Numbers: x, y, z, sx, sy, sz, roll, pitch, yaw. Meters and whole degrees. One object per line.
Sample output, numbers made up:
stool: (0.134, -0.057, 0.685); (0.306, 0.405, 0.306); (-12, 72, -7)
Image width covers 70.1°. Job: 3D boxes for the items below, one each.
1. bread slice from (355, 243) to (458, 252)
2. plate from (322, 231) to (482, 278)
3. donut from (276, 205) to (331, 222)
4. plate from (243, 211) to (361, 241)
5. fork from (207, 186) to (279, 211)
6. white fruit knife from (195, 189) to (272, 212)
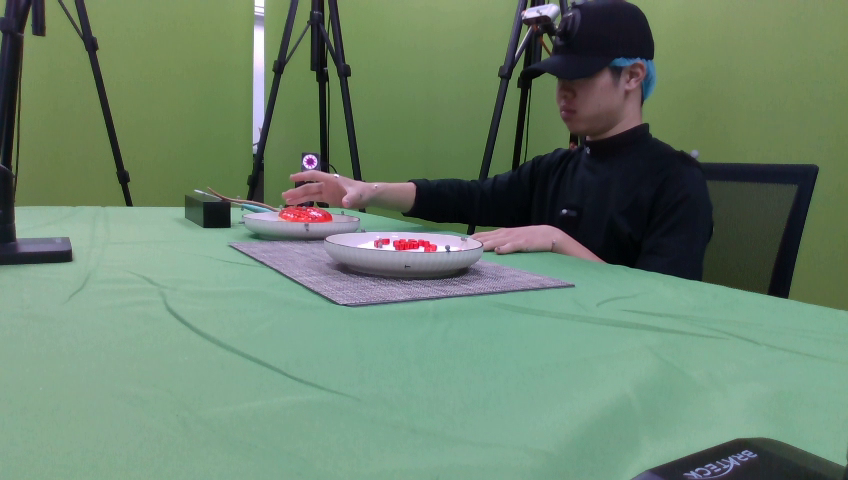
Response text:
bread slice: (-0.027, 0.019, 0.793); (0.131, 0.019, 0.105); (6, 7, 18)
plate: (-0.028, 0.018, 0.789); (0.209, 0.038, 0.209); (3, 7, 0)
donut: (-0.217, -0.037, 1.091); (0.099, 0.048, 0.099); (5, 8, 0)
plate: (-0.218, -0.025, 1.091); (0.208, 0.039, 0.207); (2, 7, 0)
fork: (-0.342, -0.070, 1.244); (0.208, 0.018, 0.028); (18, -6, -24)
white fruit knife: (-0.378, -0.073, 1.270); (0.208, 0.016, 0.027); (18, -4, -32)
